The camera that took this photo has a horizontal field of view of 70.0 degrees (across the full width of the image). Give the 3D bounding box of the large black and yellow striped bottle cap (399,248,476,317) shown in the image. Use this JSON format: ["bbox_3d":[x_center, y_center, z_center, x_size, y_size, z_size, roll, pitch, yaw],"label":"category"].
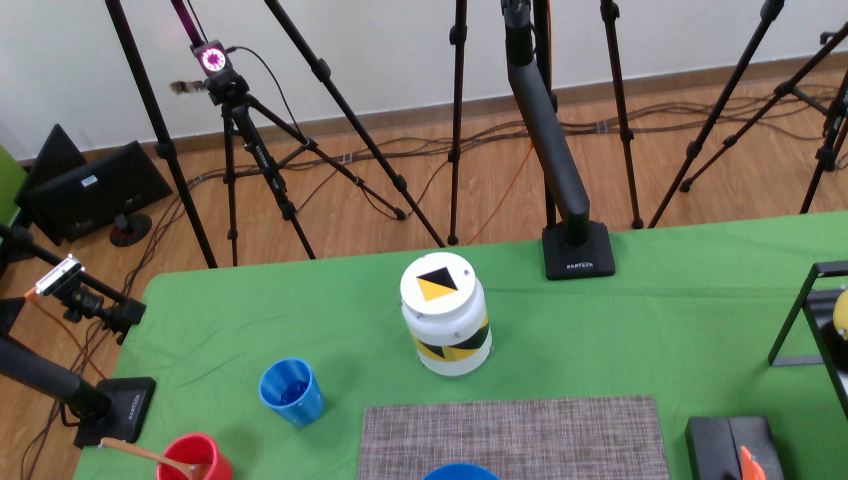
[{"bbox_3d":[0.019,0.062,0.902,0.115,0.019,0.114,-7,51,9],"label":"large black and yellow striped bottle cap"}]

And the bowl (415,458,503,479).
[{"bbox_3d":[0.051,0.379,0.811,0.151,0.077,0.150,-6,50,8],"label":"bowl"}]

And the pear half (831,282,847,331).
[{"bbox_3d":[0.505,0.069,0.717,0.031,0.089,0.070,25,64,28],"label":"pear half"}]

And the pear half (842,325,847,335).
[{"bbox_3d":[0.530,0.077,0.692,0.055,0.111,0.076,24,65,29],"label":"pear half"}]

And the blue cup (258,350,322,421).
[{"bbox_3d":[-0.207,0.243,0.971,0.092,0.101,0.091,-5,52,7],"label":"blue cup"}]

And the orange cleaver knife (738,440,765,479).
[{"bbox_3d":[0.408,0.356,0.738,0.012,0.077,0.211,-7,86,7],"label":"orange cleaver knife"}]

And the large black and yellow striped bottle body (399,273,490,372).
[{"bbox_3d":[0.033,0.114,0.966,0.130,0.186,0.129,-6,50,8],"label":"large black and yellow striped bottle body"}]

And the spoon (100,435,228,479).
[{"bbox_3d":[-0.391,0.330,0.917,0.195,0.021,0.041,30,50,-19],"label":"spoon"}]
